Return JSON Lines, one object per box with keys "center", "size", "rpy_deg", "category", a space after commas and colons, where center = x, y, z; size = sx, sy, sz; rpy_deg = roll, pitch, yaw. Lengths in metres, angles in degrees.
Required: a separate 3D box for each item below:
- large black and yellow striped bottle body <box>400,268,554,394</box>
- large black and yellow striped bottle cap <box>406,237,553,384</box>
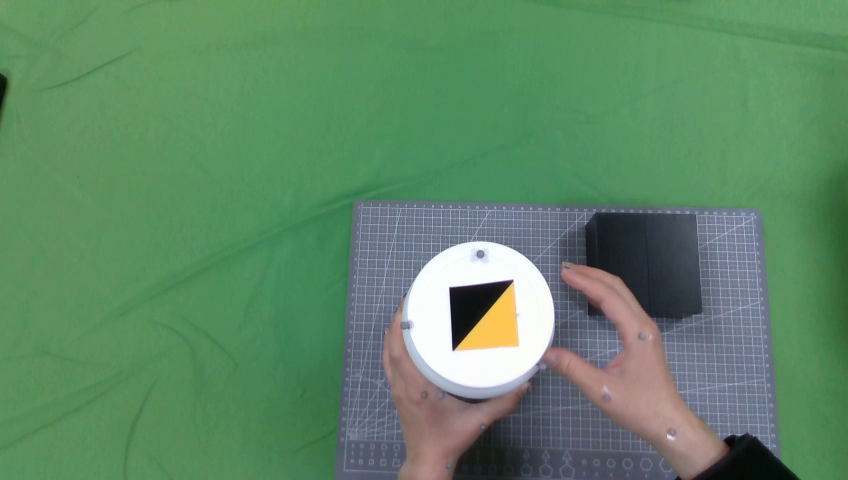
{"center": [0.046, 0.075, 0.558], "size": [0.131, 0.185, 0.130], "rpy_deg": [0, 77, 2], "category": "large black and yellow striped bottle body"}
{"center": [0.043, 0.054, 0.472], "size": [0.115, 0.019, 0.114], "rpy_deg": [0, 79, 3], "category": "large black and yellow striped bottle cap"}
